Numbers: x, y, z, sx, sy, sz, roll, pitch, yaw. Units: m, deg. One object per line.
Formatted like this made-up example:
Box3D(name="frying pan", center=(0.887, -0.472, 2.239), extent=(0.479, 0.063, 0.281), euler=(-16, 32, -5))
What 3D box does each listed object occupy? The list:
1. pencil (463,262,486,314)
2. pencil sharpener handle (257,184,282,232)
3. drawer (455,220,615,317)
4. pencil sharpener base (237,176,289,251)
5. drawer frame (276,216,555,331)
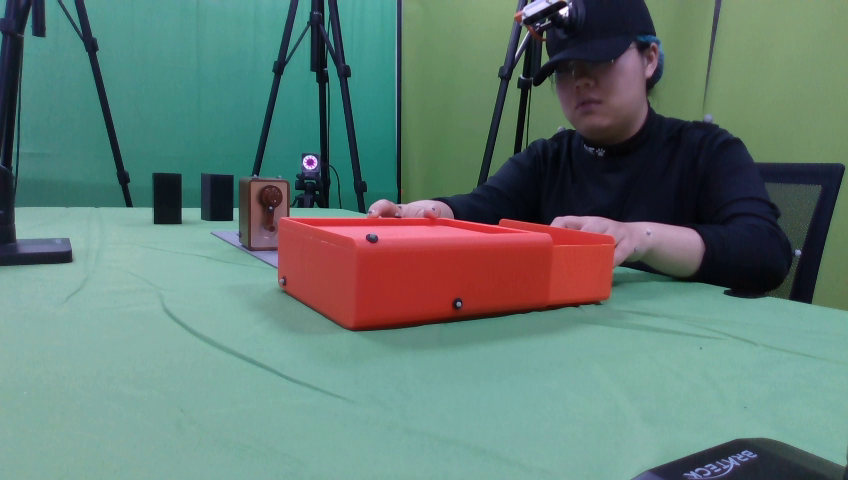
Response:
Box3D(name="pencil", center=(0.055, 0.050, 0.659), extent=(0.012, 0.012, 0.194), euler=(3, 11, -1))
Box3D(name="pencil sharpener handle", center=(-0.220, -0.046, 0.865), extent=(0.036, 0.067, 0.030), euler=(7, 5, -29))
Box3D(name="drawer", center=(0.061, 0.023, 0.657), extent=(0.213, 0.073, 0.193), euler=(-3, 9, -31))
Box3D(name="pencil sharpener base", center=(-0.243, -0.040, 0.911), extent=(0.061, 0.107, 0.076), euler=(-1, 8, -28))
Box3D(name="drawer frame", center=(-0.015, 0.022, 0.610), extent=(0.215, 0.082, 0.200), euler=(-2, 9, -32))
